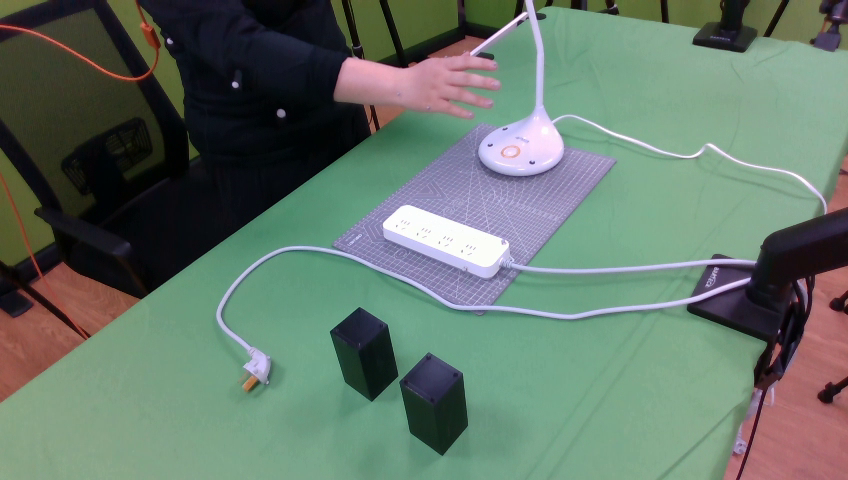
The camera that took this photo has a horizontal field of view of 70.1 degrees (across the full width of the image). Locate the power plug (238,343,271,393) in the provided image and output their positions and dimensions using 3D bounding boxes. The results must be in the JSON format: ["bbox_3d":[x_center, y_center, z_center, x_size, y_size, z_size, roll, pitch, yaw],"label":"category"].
[{"bbox_3d":[-0.230,0.172,0.800,0.072,0.035,0.053,8,50,48],"label":"power plug"}]

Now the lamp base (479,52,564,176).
[{"bbox_3d":[0.181,-0.235,1.094,0.159,0.181,0.179,18,44,27],"label":"lamp base"}]

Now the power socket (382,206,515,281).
[{"bbox_3d":[0.032,0.002,0.950,0.225,0.033,0.072,21,49,29],"label":"power socket"}]
